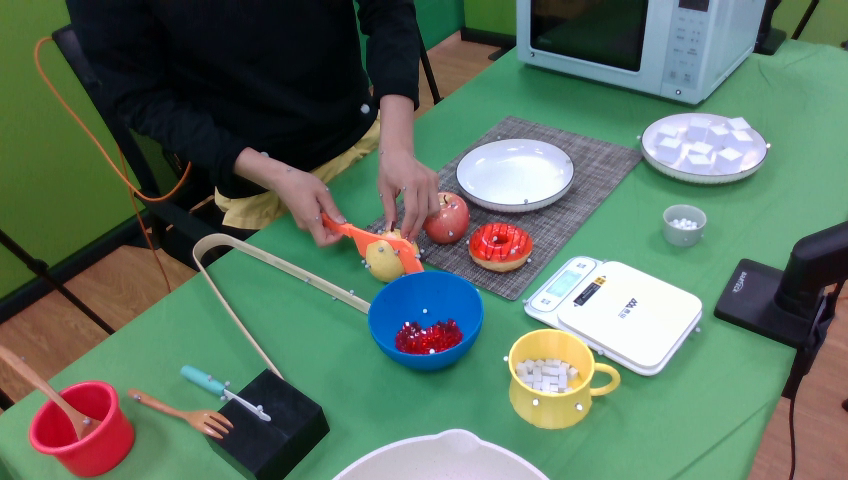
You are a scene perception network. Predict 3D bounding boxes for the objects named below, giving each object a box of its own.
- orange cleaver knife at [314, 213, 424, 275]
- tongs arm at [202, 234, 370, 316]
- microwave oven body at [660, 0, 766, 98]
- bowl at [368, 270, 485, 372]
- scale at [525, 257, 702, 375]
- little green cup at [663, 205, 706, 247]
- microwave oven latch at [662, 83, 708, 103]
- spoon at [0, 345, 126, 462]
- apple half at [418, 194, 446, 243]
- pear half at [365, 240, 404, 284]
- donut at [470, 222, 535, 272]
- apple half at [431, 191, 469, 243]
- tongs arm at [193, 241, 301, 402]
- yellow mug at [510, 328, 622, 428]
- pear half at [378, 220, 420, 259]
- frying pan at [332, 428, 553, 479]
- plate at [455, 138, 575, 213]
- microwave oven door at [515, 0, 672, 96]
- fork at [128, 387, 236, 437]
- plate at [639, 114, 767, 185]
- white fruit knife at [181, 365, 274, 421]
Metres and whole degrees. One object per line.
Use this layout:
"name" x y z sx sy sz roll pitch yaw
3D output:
"orange cleaver knife" -0.084 0.008 0.907 0.209 0.077 0.012 19 47 33
"tongs arm" -0.208 0.061 0.924 0.381 0.026 0.051 24 52 33
"microwave oven body" 0.472 -0.513 1.317 0.438 0.261 0.327 26 51 34
"bowl" 0.007 0.118 0.791 0.151 0.077 0.150 -5 40 4
"scale" 0.254 0.091 0.821 0.199 0.032 0.149 28 51 35
"little green cup" 0.396 -0.020 0.926 0.061 0.039 0.061 -4 40 4
"microwave oven latch" 0.518 -0.296 1.204 0.078 0.029 0.030 28 52 35
"spoon" -0.434 0.192 0.720 0.194 0.021 0.042 47 53 -7
"apple half" 0.009 -0.028 0.959 0.033 0.081 0.080 -15 41 -11
"pear half" -0.063 0.038 0.891 0.070 0.088 0.031 22 57 16
"donut" 0.119 0.009 0.923 0.099 0.048 0.098 -4 39 3
"apple half" 0.045 -0.038 0.967 0.053 0.075 0.080 -13 38 -11
"tongs arm" -0.268 0.106 0.883 0.028 0.028 0.384 -34 46 -19
"yellow mug" 0.168 0.164 0.722 0.130 0.064 0.099 0 40 8
"pear half" -0.039 0.005 0.907 0.076 0.110 0.056 26 50 18
"frying pan" -0.089 0.306 0.564 0.487 0.103 0.306 10 41 7
"plate" 0.159 -0.111 1.063 0.209 0.038 0.208 -4 40 4
"microwave oven door" 0.343 -0.454 1.259 0.353 0.245 0.039 26 51 33
"fork" -0.305 0.207 0.744 0.206 0.019 0.028 3 41 36
"plate" 0.489 -0.157 1.074 0.207 0.039 0.206 -4 40 4
"white fruit knife" -0.245 0.188 0.747 0.205 0.027 0.016 9 41 40
